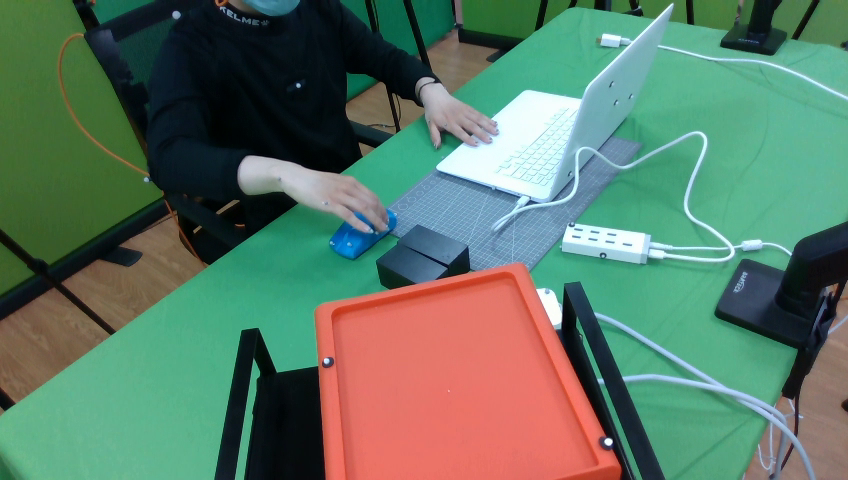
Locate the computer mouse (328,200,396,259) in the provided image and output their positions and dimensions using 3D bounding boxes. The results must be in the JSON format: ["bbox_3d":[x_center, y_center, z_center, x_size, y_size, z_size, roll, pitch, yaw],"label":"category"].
[{"bbox_3d":[-0.103,-0.021,0.992,0.062,0.041,0.117,28,62,34],"label":"computer mouse"}]

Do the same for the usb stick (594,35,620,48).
[{"bbox_3d":[0.443,-0.482,1.466,0.059,0.021,0.027,10,43,10],"label":"usb stick"}]

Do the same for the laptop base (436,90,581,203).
[{"bbox_3d":[0.214,-0.192,1.172,0.233,0.023,0.355,19,46,32],"label":"laptop base"}]

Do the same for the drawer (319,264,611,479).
[{"bbox_3d":[0.020,0.129,0.497,0.195,0.073,0.210,-11,41,-5],"label":"drawer"}]

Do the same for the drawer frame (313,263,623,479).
[{"bbox_3d":[0.021,0.130,0.493,0.202,0.083,0.212,-11,41,-6],"label":"drawer frame"}]

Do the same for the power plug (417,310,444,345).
[{"bbox_3d":[0.007,0.122,0.785,0.035,0.053,0.072,1,39,7],"label":"power plug"}]

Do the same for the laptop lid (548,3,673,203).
[{"bbox_3d":[0.320,-0.235,1.026,0.013,0.242,0.357,31,50,20],"label":"laptop lid"}]

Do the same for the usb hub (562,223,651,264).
[{"bbox_3d":[0.279,0.005,0.926,0.124,0.025,0.049,10,43,19],"label":"usb hub"}]

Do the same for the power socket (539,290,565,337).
[{"bbox_3d":[0.081,0.112,0.822,0.227,0.033,0.072,-6,41,0],"label":"power socket"}]
